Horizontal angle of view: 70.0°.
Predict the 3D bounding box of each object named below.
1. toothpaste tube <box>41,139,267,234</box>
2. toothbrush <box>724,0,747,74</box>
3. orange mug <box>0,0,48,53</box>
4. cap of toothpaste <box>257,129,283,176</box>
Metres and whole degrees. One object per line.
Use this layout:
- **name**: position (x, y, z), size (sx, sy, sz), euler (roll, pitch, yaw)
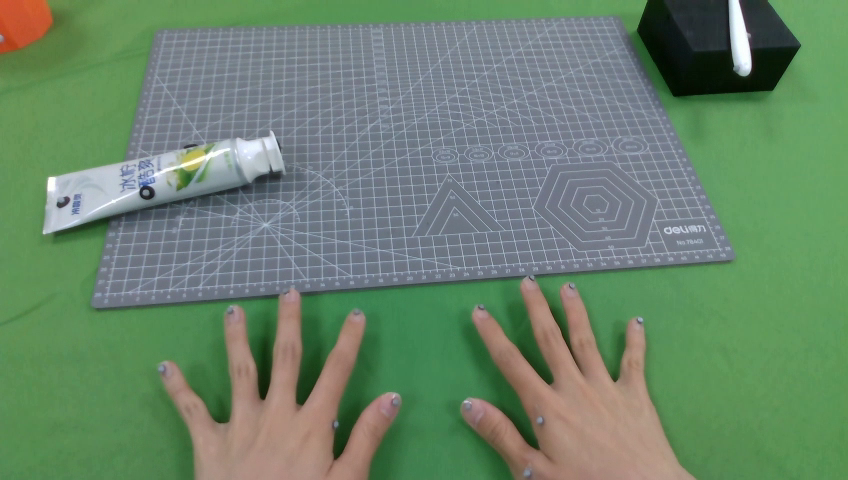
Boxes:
- **toothpaste tube**: position (-0.195, -0.046, 0.446), size (0.165, 0.035, 0.054), euler (-14, 51, -8)
- **toothbrush**: position (0.273, -0.209, 0.538), size (0.014, 0.017, 0.180), euler (12, 55, 3)
- **orange mug**: position (-0.403, -0.216, 0.513), size (0.083, 0.101, 0.126), euler (30, 54, 17)
- **cap of toothpaste**: position (-0.116, -0.065, 0.456), size (0.011, 0.037, 0.037), euler (-20, 57, -17)
